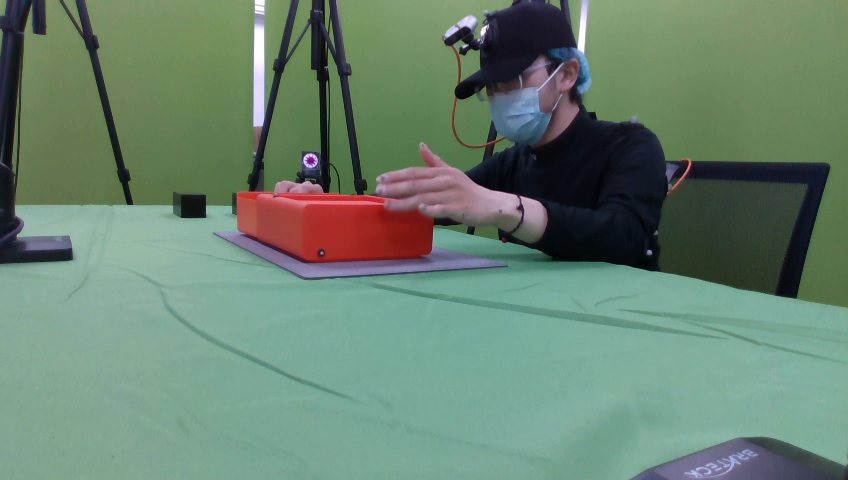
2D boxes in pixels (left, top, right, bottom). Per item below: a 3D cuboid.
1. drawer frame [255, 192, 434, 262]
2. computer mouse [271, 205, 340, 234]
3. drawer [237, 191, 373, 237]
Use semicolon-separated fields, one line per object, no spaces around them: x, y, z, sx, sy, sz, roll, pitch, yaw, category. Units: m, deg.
-0.125;-0.026;0.910;0.203;0.082;0.212;-1;9;-32;drawer frame
-0.205;-0.036;1.049;0.117;0.041;0.062;-7;16;-6;computer mouse
-0.186;-0.039;1.006;0.195;0.073;0.210;-1;7;-32;drawer
